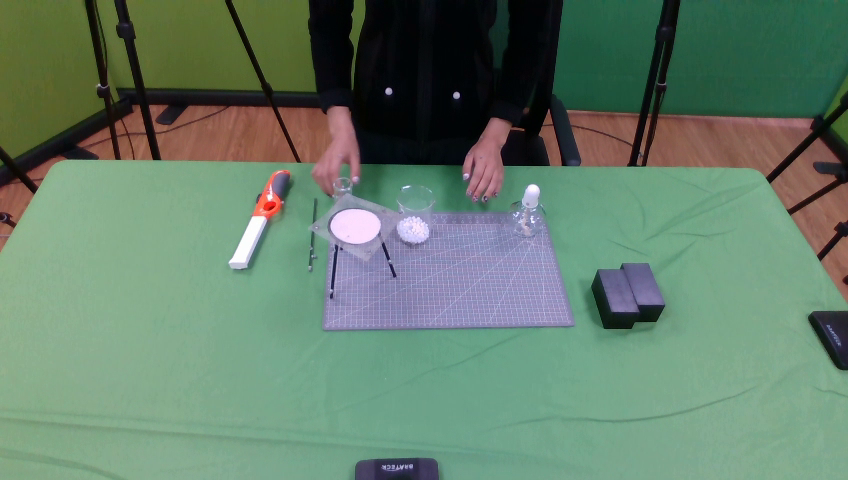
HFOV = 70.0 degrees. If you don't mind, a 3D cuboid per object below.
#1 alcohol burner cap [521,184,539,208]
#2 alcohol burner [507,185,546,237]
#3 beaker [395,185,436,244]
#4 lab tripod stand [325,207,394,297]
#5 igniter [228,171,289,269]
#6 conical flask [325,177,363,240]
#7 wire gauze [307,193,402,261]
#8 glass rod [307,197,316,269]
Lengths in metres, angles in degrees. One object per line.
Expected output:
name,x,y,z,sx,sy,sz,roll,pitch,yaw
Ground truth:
alcohol burner cap,0.210,-0.087,1.184,0.034,0.048,0.033,0,52,0
alcohol burner,0.208,-0.063,1.210,0.078,0.119,0.077,3,44,-3
beaker,-0.022,-0.048,1.187,0.074,0.101,0.083,-28,54,-28
lab tripod stand,-0.124,0.017,1.092,0.148,0.132,0.147,3,44,-3
igniter,-0.328,-0.049,1.218,0.057,0.025,0.275,1,45,11
conical flask,-0.158,-0.064,1.176,0.075,0.122,0.075,2,46,-2
wire gauze,-0.118,-0.028,1.043,0.125,0.011,0.121,24,47,17
glass rod,-0.223,-0.018,1.210,0.008,0.008,0.198,-1,46,-4
